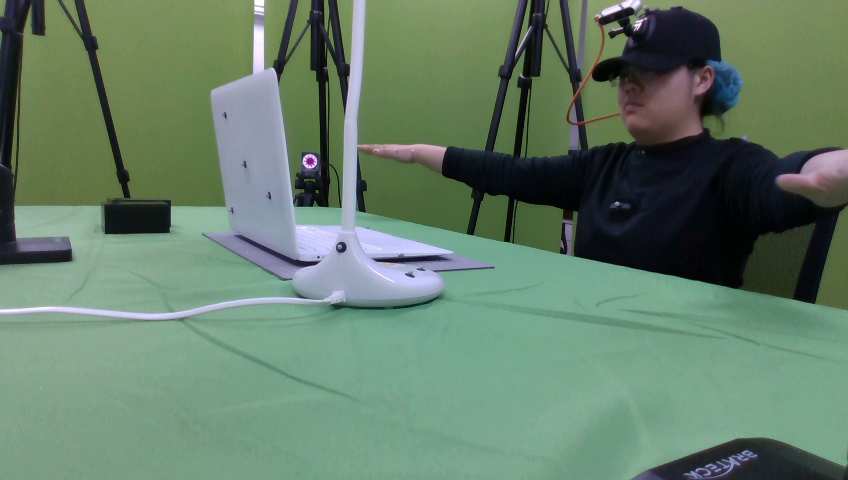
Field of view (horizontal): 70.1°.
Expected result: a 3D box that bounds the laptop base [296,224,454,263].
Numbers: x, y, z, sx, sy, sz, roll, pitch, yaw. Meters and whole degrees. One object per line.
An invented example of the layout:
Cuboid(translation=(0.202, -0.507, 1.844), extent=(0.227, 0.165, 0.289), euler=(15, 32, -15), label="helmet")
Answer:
Cuboid(translation=(-0.143, 0.003, 0.957), extent=(0.237, 0.023, 0.352), euler=(2, 7, -32), label="laptop base")

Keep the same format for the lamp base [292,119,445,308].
Cuboid(translation=(-0.056, -0.030, 0.616), extent=(0.160, 0.180, 0.179), euler=(3, 10, 8), label="lamp base")

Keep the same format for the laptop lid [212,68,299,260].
Cuboid(translation=(-0.254, -0.111, 0.872), extent=(0.013, 0.241, 0.355), euler=(-11, 14, -30), label="laptop lid")
